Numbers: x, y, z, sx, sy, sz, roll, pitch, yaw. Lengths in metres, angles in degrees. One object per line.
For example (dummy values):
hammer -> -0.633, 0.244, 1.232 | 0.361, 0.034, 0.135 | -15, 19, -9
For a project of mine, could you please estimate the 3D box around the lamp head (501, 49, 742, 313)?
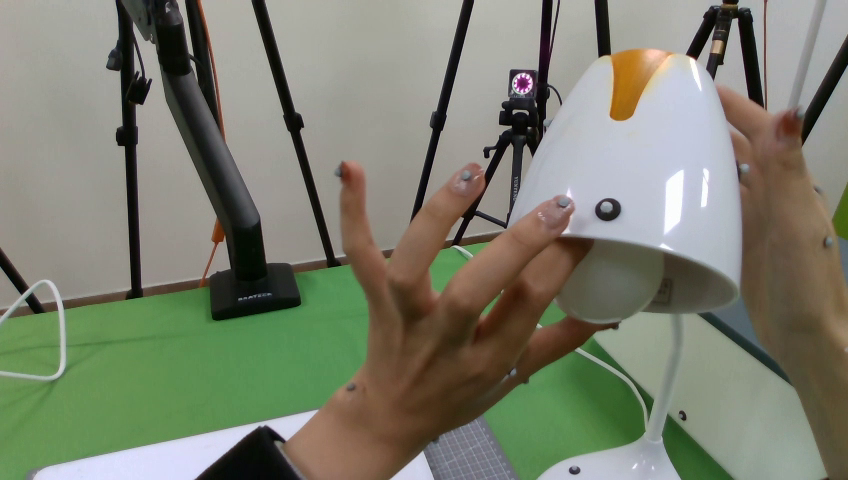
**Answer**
lamp head -> 0.107, -0.031, 0.312 | 0.112, 0.113, 0.122 | 10, 68, 20

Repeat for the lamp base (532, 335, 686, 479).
lamp base -> 0.170, 0.175, 0.496 | 0.159, 0.181, 0.179 | 16, 27, 27

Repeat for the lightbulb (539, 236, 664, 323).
lightbulb -> 0.095, -0.011, 0.303 | 0.059, 0.107, 0.060 | 19, -8, 3

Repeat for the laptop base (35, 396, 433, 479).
laptop base -> -0.160, 0.251, 0.523 | 0.355, 0.023, 0.233 | -8, 31, -16

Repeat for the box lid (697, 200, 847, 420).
box lid -> 0.377, 0.042, 0.617 | 0.264, 0.015, 0.367 | -8, 28, -18

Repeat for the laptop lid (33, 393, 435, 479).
laptop lid -> -0.159, 0.242, 0.516 | 0.358, 0.013, 0.239 | -7, 30, -14

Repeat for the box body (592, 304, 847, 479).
box body -> 0.377, 0.110, 0.650 | 0.255, 0.161, 0.360 | -9, 28, -18
